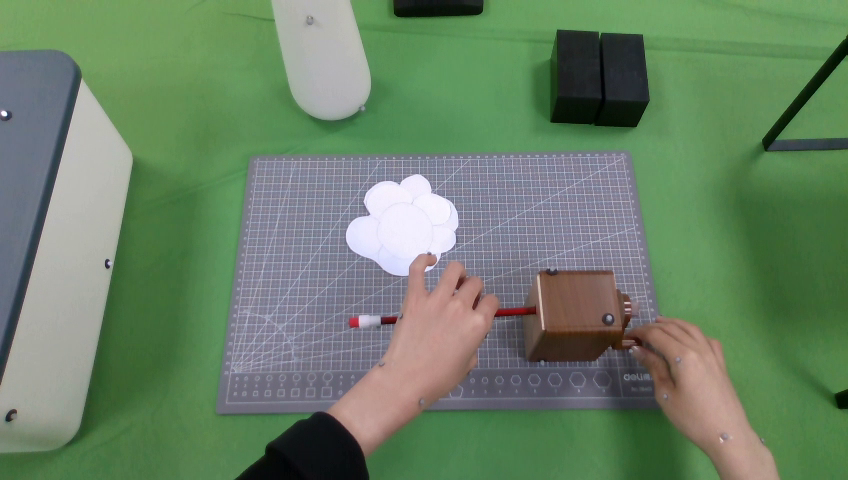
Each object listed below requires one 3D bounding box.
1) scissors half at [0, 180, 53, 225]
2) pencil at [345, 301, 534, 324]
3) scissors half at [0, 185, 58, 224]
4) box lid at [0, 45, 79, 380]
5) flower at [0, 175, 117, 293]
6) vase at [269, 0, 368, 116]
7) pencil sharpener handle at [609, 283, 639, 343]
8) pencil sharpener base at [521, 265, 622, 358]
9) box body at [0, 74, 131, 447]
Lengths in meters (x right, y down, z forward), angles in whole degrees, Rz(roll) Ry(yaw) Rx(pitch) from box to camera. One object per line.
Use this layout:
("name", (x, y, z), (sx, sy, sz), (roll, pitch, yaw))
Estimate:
("scissors half", (-0.490, -0.009, 0.672), (0.175, 0.040, 0.012), (-34, 31, -6))
("pencil", (0.026, 0.064, 0.548), (0.194, 0.012, 0.012), (-4, 65, -5))
("scissors half", (-0.495, -0.019, 0.664), (0.175, 0.040, 0.012), (-26, 36, -13))
("box lid", (-0.457, -0.021, 0.513), (0.263, 0.015, 0.368), (-2, 66, -2))
("flower", (-0.453, 0.043, 0.660), (0.038, 0.044, 0.359), (-8, 40, 33))
("vase", (-0.118, -0.228, 0.668), (0.098, 0.201, 0.097), (-1, 64, 2))
("pencil sharpener handle", (0.189, 0.070, 0.563), (0.030, 0.068, 0.035), (-1, 37, 0))
("pencil sharpener base", (0.138, 0.070, 0.578), (0.077, 0.108, 0.061), (-1, 65, 0))
("box body", (-0.456, 0.013, 0.582), (0.254, 0.161, 0.361), (-2, 66, 0))
